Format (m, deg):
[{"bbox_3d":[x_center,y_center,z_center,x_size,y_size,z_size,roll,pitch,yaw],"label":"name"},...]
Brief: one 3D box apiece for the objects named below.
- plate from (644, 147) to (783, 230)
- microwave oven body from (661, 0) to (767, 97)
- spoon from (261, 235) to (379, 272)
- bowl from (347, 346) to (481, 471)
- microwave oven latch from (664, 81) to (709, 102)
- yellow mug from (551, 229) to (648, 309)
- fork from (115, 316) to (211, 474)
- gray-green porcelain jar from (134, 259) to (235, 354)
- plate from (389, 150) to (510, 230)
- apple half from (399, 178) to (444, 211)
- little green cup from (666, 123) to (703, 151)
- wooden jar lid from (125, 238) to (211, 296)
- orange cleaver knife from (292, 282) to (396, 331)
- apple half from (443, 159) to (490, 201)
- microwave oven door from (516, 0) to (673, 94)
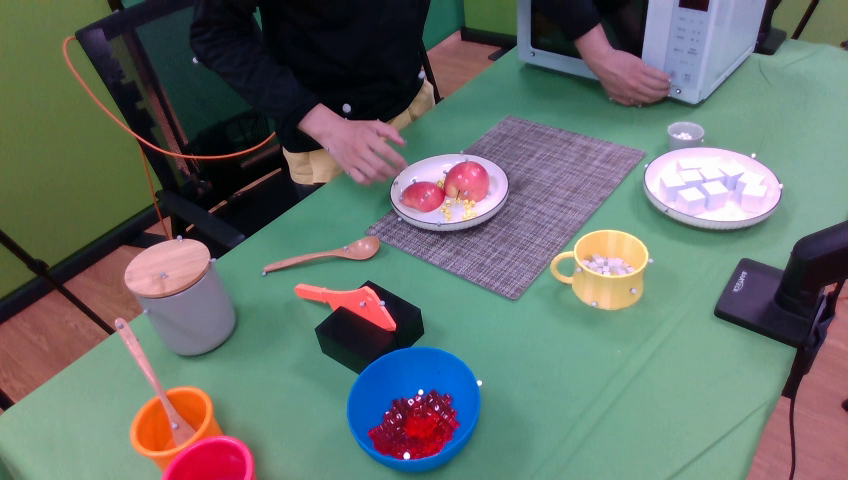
[{"bbox_3d":[0.465,-0.080,0.986,0.207,0.039,0.206,-4,41,4],"label":"plate"},{"bbox_3d":[0.474,-0.517,1.314,0.438,0.261,0.327,26,51,34],"label":"microwave oven body"},{"bbox_3d":[-0.167,0.023,0.967,0.194,0.022,0.041,-10,60,-3],"label":"spoon"},{"bbox_3d":[-0.007,0.204,0.691,0.151,0.077,0.150,-4,40,4],"label":"bowl"},{"bbox_3d":[0.521,-0.300,1.203,0.030,0.029,0.078,-33,46,-26],"label":"microwave oven latch"},{"bbox_3d":[0.246,0.039,0.857,0.130,0.064,0.099,1,42,11],"label":"yellow mug"},{"bbox_3d":[-0.308,0.179,0.708,0.028,0.018,0.207,-30,89,-23],"label":"fork"},{"bbox_3d":[-0.328,0.086,0.837,0.106,0.127,0.105,-4,41,4],"label":"gray-green porcelain jar"},{"bbox_3d":[0.044,-0.083,1.043,0.209,0.038,0.208,-4,40,4],"label":"plate"},{"bbox_3d":[-0.003,-0.088,1.046,0.081,0.033,0.081,-1,43,2],"label":"apple half"},{"bbox_3d":[0.473,-0.184,1.103,0.061,0.039,0.061,-4,39,4],"label":"little green cup"},{"bbox_3d":[-0.334,0.038,0.795,0.108,0.021,0.108,-2,40,2],"label":"wooden jar lid"},{"bbox_3d":[-0.115,0.090,0.836,0.209,0.077,0.012,1,32,48],"label":"orange cleaver knife"},{"bbox_3d":[0.074,-0.111,1.048,0.080,0.053,0.075,21,46,30],"label":"apple half"},{"bbox_3d":[0.345,-0.459,1.257,0.353,0.245,0.039,26,52,33],"label":"microwave oven door"}]
